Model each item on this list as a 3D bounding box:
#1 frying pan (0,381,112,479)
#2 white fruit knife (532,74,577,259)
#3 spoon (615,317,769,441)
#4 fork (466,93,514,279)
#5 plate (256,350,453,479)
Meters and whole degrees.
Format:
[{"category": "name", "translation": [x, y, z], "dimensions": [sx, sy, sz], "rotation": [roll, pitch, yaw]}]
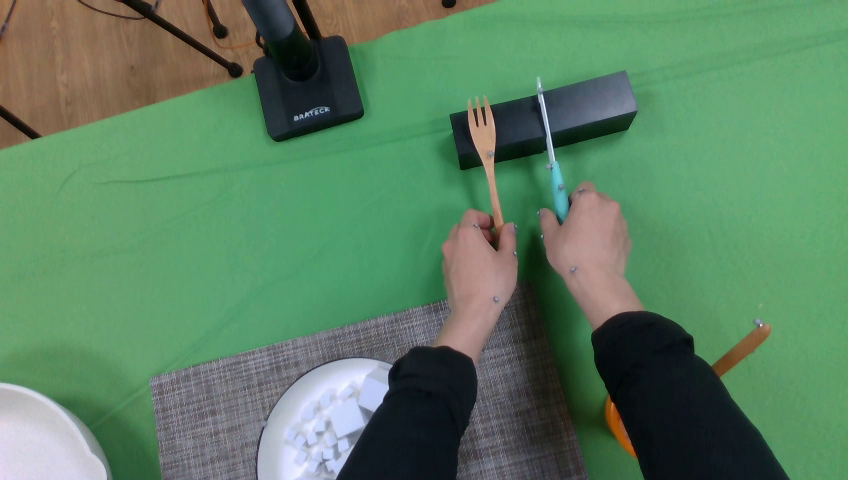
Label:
[{"category": "frying pan", "translation": [-0.429, 0.388, 0.607], "dimensions": [0.307, 0.103, 0.483], "rotation": [-22, 68, 1]}, {"category": "white fruit knife", "translation": [0.140, -0.080, 0.664], "dimensions": [0.016, 0.027, 0.207], "rotation": [-12, 92, 1]}, {"category": "spoon", "translation": [0.250, 0.135, 0.572], "dimensions": [0.041, 0.194, 0.021], "rotation": [41, 40, 9]}, {"category": "fork", "translation": [0.076, -0.057, 0.668], "dimensions": [0.028, 0.018, 0.207], "rotation": [-9, 95, 16]}, {"category": "plate", "translation": [-0.071, 0.222, 0.638], "dimensions": [0.207, 0.039, 0.206], "rotation": [-1, 78, 6]}]
